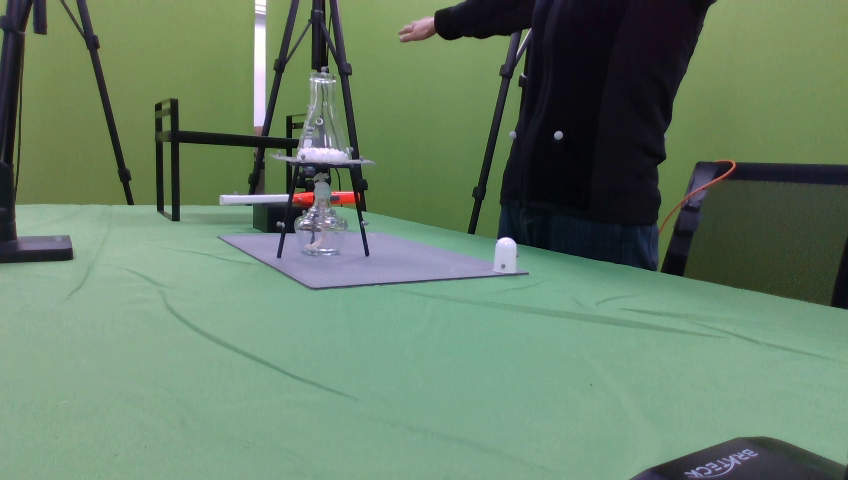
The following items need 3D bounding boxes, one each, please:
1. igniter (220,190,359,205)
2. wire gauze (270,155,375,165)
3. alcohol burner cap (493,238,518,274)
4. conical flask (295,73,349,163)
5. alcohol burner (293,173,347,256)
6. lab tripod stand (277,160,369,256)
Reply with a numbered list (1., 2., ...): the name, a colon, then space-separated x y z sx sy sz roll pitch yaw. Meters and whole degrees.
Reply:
1. igniter: -0.246 -0.081 1.158 0.278 0.025 0.057 -5 7 -33
2. wire gauze: -0.146 -0.112 0.860 0.122 0.011 0.124 0 6 -29
3. alcohol burner cap: 0.107 0.021 0.784 0.034 0.048 0.034 1 7 0
4. conical flask: -0.143 -0.170 0.851 0.075 0.122 0.075 2 9 0
5. alcohol burner: -0.148 -0.037 0.868 0.078 0.119 0.078 4 8 0
6. lab tripod stand: -0.149 -0.046 0.861 0.148 0.131 0.148 3 9 0
